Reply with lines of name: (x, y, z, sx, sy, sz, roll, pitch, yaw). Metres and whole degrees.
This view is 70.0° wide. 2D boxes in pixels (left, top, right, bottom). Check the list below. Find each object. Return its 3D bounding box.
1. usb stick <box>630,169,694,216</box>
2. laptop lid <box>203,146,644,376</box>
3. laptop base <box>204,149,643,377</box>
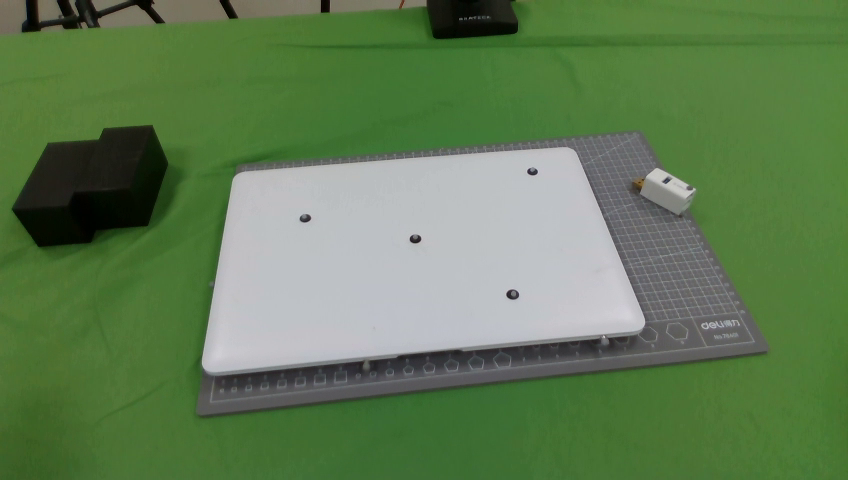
usb stick: (0.233, -0.051, 0.599, 0.021, 0.027, 0.058, -35, 52, -27)
laptop lid: (-0.007, 0.003, 0.547, 0.357, 0.013, 0.239, -4, 49, -2)
laptop base: (-0.007, 0.009, 0.557, 0.355, 0.023, 0.233, -5, 50, -3)
